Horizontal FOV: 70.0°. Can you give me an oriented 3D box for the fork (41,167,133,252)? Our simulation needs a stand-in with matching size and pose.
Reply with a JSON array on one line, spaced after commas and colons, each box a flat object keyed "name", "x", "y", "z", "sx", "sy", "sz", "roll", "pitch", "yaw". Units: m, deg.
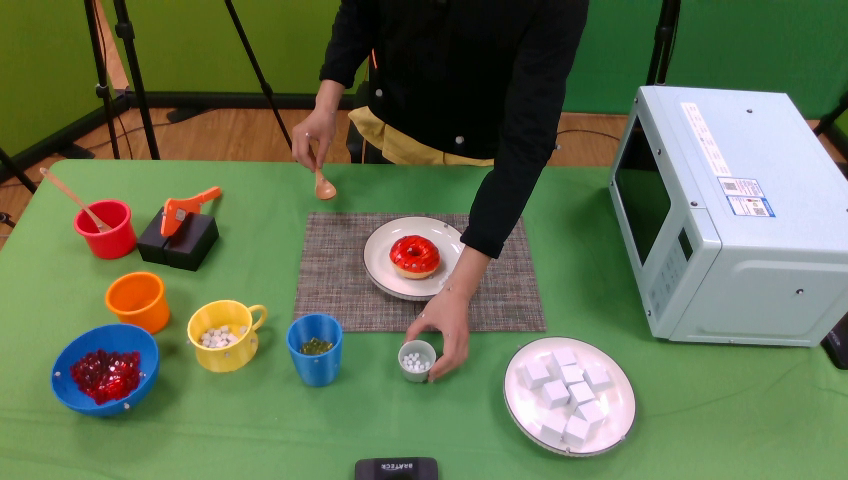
[{"name": "fork", "x": -0.624, "y": -0.056, "z": 1.121, "sx": 0.208, "sy": 0.018, "sz": 0.028, "roll": 50, "pitch": 51, "yaw": -15}]

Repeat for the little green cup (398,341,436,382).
[{"name": "little green cup", "x": -0.012, "y": 0.200, "z": 0.985, "sx": 0.061, "sy": 0.039, "sz": 0.061, "roll": 2, "pitch": 50, "yaw": -2}]

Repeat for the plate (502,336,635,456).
[{"name": "plate", "x": 0.225, "y": 0.248, "z": 0.963, "sx": 0.208, "sy": 0.039, "sz": 0.206, "roll": 2, "pitch": 46, "yaw": -2}]

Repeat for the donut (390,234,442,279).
[{"name": "donut", "x": -0.016, "y": 0.032, "z": 1.135, "sx": 0.099, "sy": 0.048, "sz": 0.098, "roll": 3, "pitch": 45, "yaw": -3}]

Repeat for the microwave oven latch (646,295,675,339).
[{"name": "microwave oven latch", "x": 0.412, "y": 0.134, "z": 1.061, "sx": 0.030, "sy": 0.029, "sz": 0.078, "roll": 4, "pitch": 45, "yaw": 1}]

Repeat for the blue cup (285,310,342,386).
[{"name": "blue cup", "x": -0.169, "y": 0.180, "z": 0.958, "sx": 0.093, "sy": 0.101, "sz": 0.092, "roll": 1, "pitch": 44, "yaw": -1}]

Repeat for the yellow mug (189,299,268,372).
[{"name": "yellow mug", "x": -0.316, "y": 0.148, "z": 1.002, "sx": 0.131, "sy": 0.064, "sz": 0.099, "roll": -32, "pitch": 56, "yaw": -31}]

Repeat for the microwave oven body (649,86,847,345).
[{"name": "microwave oven body", "x": 0.568, "y": -0.053, "z": 1.118, "sx": 0.326, "sy": 0.261, "sz": 0.439, "roll": 2, "pitch": 45, "yaw": -1}]

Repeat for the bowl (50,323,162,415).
[{"name": "bowl", "x": -0.472, "y": 0.209, "z": 0.924, "sx": 0.151, "sy": 0.077, "sz": 0.150, "roll": 3, "pitch": 45, "yaw": -2}]

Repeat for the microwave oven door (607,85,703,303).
[{"name": "microwave oven door", "x": 0.423, "y": -0.094, "z": 1.141, "sx": 0.039, "sy": 0.245, "sz": 0.353, "roll": 2, "pitch": 46, "yaw": -1}]

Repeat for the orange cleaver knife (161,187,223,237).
[{"name": "orange cleaver knife", "x": -0.448, "y": -0.058, "z": 1.181, "sx": 0.012, "sy": 0.077, "sz": 0.211, "roll": 13, "pitch": 17, "yaw": 6}]

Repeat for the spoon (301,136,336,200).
[{"name": "spoon", "x": -0.221, "y": -0.151, "z": 1.243, "sx": 0.041, "sy": 0.022, "sz": 0.192, "roll": -18, "pitch": 59, "yaw": -11}]

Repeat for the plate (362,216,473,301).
[{"name": "plate", "x": -0.012, "y": 0.038, "z": 1.144, "sx": 0.209, "sy": 0.038, "sz": 0.208, "roll": 2, "pitch": 46, "yaw": -2}]
